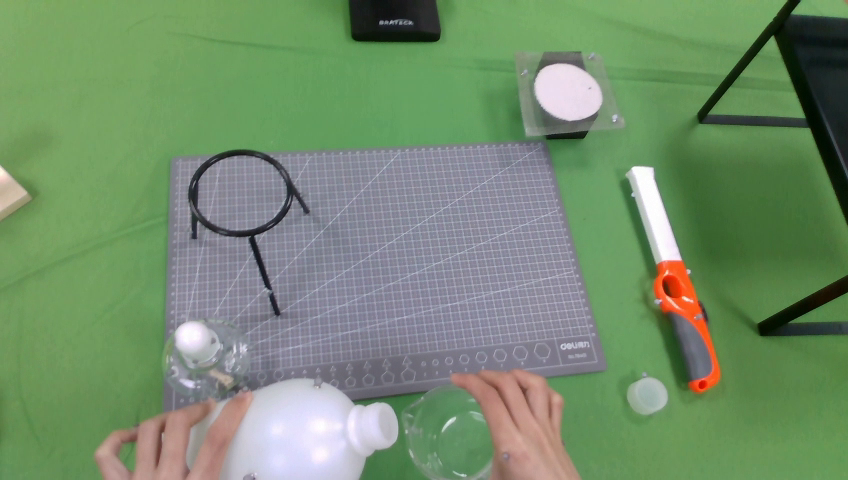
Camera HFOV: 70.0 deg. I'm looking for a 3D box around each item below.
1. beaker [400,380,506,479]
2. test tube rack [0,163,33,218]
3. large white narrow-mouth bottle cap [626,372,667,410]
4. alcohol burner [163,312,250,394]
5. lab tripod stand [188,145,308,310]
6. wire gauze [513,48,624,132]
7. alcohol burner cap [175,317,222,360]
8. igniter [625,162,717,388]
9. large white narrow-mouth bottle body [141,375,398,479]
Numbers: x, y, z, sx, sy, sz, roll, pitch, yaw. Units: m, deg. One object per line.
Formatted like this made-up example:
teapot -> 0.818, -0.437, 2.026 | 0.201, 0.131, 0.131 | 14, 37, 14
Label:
beaker -> 0.028, 0.162, 0.506 | 0.083, 0.101, 0.073 | 16, 71, 18
test tube rack -> -0.519, -0.009, 0.574 | 0.066, 0.085, 0.242 | 41, 66, 12
large white narrow-mouth bottle cap -> 0.233, 0.159, 0.637 | 0.038, 0.024, 0.037 | 3, 64, -5
alcohol burner -> -0.199, 0.097, 0.550 | 0.078, 0.120, 0.077 | 4, 63, -8
lab tripod stand -> -0.168, -0.017, 0.597 | 0.149, 0.132, 0.147 | 4, 65, -8
wire gauze -> 0.174, -0.187, 0.743 | 0.122, 0.011, 0.124 | -3, 66, -9
alcohol burner cap -> -0.194, 0.083, 0.517 | 0.034, 0.048, 0.033 | 2, 70, -6
igniter -> 0.282, 0.031, 0.699 | 0.057, 0.025, 0.274 | 1, 65, -19
large white narrow-mouth bottle body -> -0.108, 0.156, 0.452 | 0.194, 0.103, 0.101 | -21, 64, 21
